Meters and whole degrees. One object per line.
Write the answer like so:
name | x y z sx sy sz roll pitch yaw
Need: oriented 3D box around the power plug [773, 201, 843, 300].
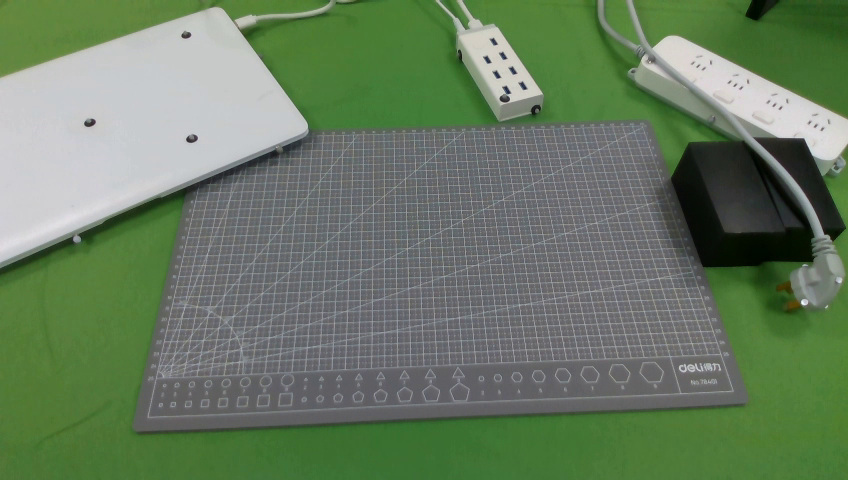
power plug | 0.306 0.013 0.488 0.035 0.053 0.072 22 59 -20

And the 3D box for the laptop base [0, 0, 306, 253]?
laptop base | -0.321 -0.117 0.590 0.354 0.023 0.233 -28 64 -18

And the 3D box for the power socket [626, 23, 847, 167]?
power socket | 0.315 -0.151 0.610 0.225 0.033 0.072 38 63 23

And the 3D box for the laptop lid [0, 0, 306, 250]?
laptop lid | -0.320 -0.122 0.579 0.357 0.013 0.239 -26 62 -17

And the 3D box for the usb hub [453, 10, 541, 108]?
usb hub | 0.074 -0.193 0.641 0.049 0.025 0.124 -17 58 -11
